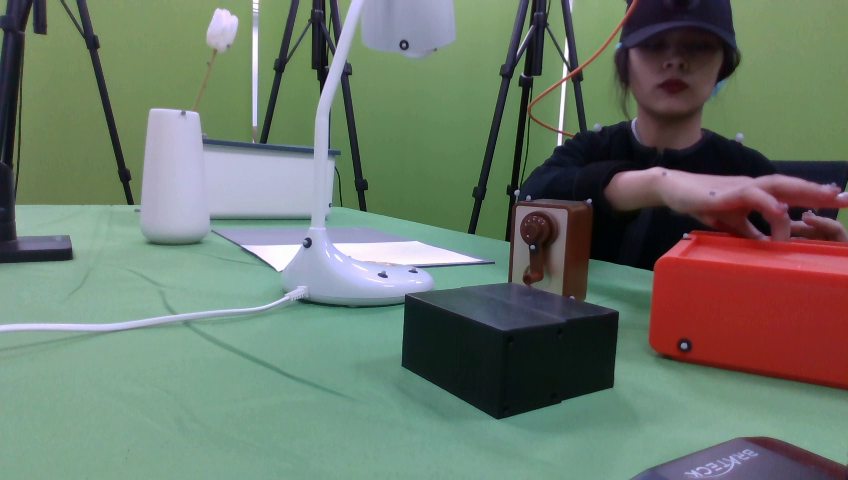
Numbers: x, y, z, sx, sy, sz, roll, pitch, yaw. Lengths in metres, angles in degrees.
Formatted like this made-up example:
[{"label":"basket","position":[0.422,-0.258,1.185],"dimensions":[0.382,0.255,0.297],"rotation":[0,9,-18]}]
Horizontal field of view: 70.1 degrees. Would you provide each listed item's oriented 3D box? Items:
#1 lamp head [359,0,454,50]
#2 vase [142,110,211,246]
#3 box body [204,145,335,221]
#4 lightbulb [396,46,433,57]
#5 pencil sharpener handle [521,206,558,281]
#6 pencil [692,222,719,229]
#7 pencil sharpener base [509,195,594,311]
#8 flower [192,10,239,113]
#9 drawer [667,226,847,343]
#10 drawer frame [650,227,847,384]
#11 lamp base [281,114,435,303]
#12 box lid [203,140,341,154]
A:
[{"label":"lamp head","position":[-0.024,-0.283,0.674],"dimensions":[0.112,0.123,0.112],"rotation":[-3,38,3]},{"label":"vase","position":[-0.378,-0.093,0.920],"dimensions":[0.098,0.200,0.098],"rotation":[2,9,0]},{"label":"box body","position":[-0.411,-0.135,1.386],"dimensions":[0.366,0.160,0.253],"rotation":[-2,9,-29]},{"label":"lightbulb","position":[-0.018,-0.265,0.692],"dimensions":[0.059,0.108,0.059],"rotation":[-10,27,6]},{"label":"pencil sharpener handle","position":[0.101,0.003,0.556],"dimensions":[0.036,0.067,0.031],"rotation":[0,5,31]},{"label":"pencil","position":[0.365,0.019,0.609],"dimensions":[0.194,0.012,0.012],"rotation":[23,12,9]},{"label":"pencil sharpener base","position":[0.126,0.010,0.602],"dimensions":[0.061,0.107,0.077],"rotation":[7,9,31]},{"label":"flower","position":[-0.354,-0.174,0.915],"dimensions":[0.038,0.361,0.044],"rotation":[18,-4,12]},{"label":"drawer","position":[0.346,0.037,0.574],"dimensions":[0.194,0.073,0.212],"rotation":[7,9,27]},{"label":"drawer frame","position":[0.307,0.042,0.497],"dimensions":[0.201,0.082,0.214],"rotation":[6,9,27]},{"label":"lamp base","position":[-0.071,-0.035,0.614],"dimensions":[0.160,0.180,0.180],"rotation":[6,10,27]},{"label":"box lid","position":[-0.396,-0.212,1.373],"dimensions":[0.373,0.015,0.262],"rotation":[-1,9,-29]}]
